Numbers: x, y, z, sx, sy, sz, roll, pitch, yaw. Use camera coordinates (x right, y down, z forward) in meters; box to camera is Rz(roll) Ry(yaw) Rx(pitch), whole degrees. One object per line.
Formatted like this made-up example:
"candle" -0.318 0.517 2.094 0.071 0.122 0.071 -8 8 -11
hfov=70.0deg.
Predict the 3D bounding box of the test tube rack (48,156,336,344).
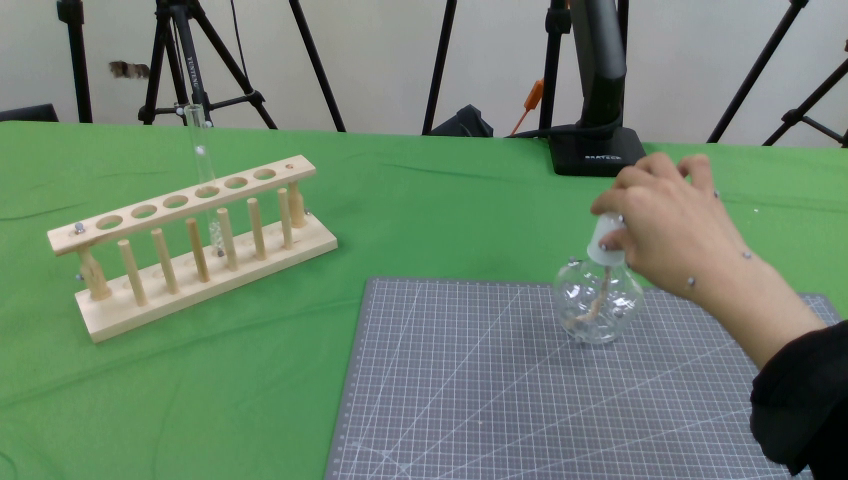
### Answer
"test tube rack" -0.211 0.002 0.587 0.243 0.086 0.066 -23 43 -28

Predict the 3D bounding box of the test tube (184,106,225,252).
"test tube" -0.207 -0.054 0.578 0.017 0.151 0.017 1 31 0

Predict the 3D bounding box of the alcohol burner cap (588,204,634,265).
"alcohol burner cap" 0.154 -0.007 0.491 0.034 0.048 0.033 2 39 -1

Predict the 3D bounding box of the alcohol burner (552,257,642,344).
"alcohol burner" 0.152 0.032 0.522 0.078 0.120 0.077 1 39 0
